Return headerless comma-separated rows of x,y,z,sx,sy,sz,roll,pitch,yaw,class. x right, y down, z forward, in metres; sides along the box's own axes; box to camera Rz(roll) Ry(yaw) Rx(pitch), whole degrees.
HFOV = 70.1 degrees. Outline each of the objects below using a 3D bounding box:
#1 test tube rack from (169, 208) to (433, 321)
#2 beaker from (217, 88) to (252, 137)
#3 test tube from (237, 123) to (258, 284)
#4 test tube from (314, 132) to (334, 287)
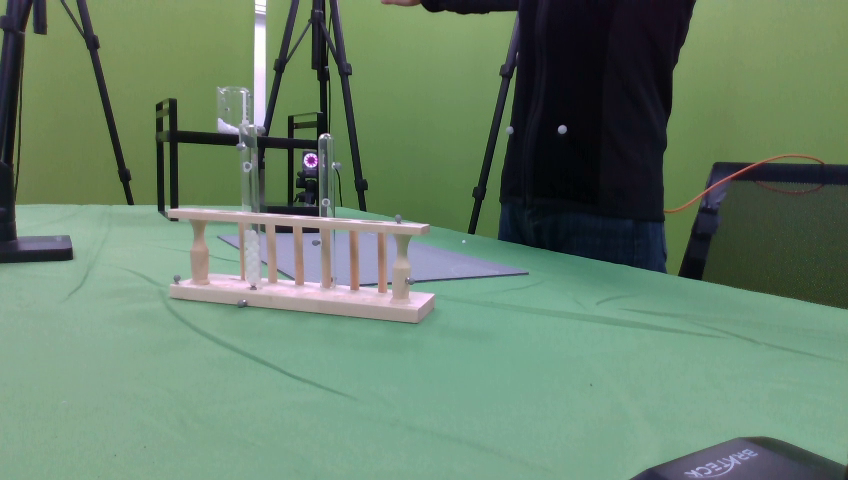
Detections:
-0.115,0.018,0.574,0.242,0.085,0.067,4,8,14,test tube rack
-0.412,-0.276,1.310,0.074,0.100,0.084,4,8,16,beaker
-0.163,-0.032,0.559,0.017,0.150,0.017,3,12,0,test tube
-0.096,-0.028,0.583,0.017,0.150,0.017,0,9,0,test tube
